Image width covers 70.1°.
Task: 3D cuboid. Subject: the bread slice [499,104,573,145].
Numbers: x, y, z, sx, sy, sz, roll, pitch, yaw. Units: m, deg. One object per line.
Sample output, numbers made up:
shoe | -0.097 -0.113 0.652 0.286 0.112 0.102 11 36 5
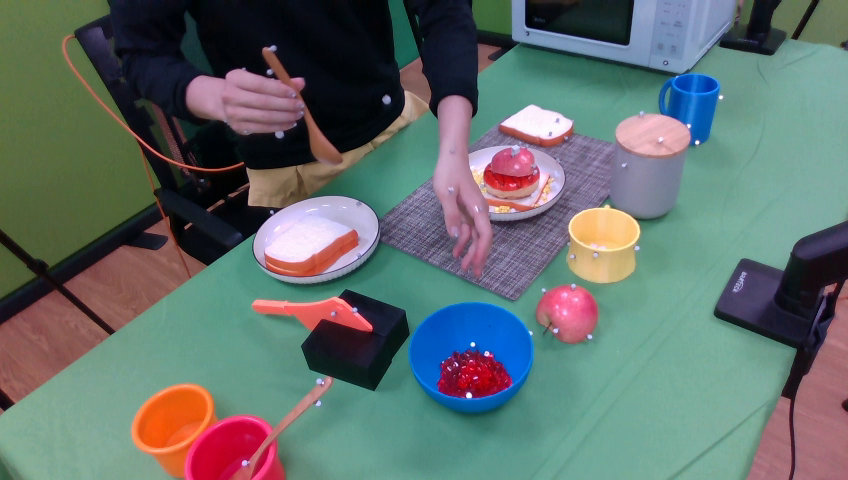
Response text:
bread slice | 0.231 -0.231 1.205 0.105 0.019 0.130 -36 47 -28

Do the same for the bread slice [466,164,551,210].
bread slice | 0.141 -0.093 1.042 0.133 0.018 0.107 10 42 19

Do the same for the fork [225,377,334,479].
fork | -0.163 0.216 0.646 0.207 0.019 0.028 -49 42 16

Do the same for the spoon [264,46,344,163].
spoon | -0.153 -0.165 0.769 0.041 0.195 0.021 1 50 25

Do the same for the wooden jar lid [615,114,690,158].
wooden jar lid | 0.347 -0.155 0.923 0.108 0.021 0.108 -3 44 4

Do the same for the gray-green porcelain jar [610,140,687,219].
gray-green porcelain jar | 0.354 -0.106 0.964 0.106 0.127 0.105 -4 41 4

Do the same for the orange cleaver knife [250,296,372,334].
orange cleaver knife | -0.159 0.103 0.828 0.210 0.078 0.012 -4 43 39

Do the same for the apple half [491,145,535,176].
apple half | 0.147 -0.138 0.993 0.081 0.033 0.081 0 36 0

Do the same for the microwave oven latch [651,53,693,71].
microwave oven latch | 0.532 -0.386 1.301 0.078 0.029 0.030 27 52 34

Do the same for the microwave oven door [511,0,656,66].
microwave oven door | 0.350 -0.539 1.348 0.353 0.245 0.039 24 50 31

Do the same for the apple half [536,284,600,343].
apple half | 0.196 0.091 0.815 0.075 0.053 0.080 -22 42 -20

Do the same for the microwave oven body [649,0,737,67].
microwave oven body | 0.475 -0.602 1.411 0.438 0.261 0.327 23 50 32

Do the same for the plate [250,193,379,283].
plate | -0.174 0.000 0.984 0.209 0.038 0.208 -4 40 4

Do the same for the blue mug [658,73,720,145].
blue mug | 0.483 -0.250 1.127 0.082 0.106 0.115 -26 44 -19

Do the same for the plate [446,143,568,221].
plate | 0.142 -0.097 1.045 0.207 0.039 0.206 -4 40 4

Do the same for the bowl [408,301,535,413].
bowl | 0.060 0.156 0.739 0.151 0.077 0.150 -4 40 4

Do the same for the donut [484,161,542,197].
donut | 0.149 -0.109 1.016 0.099 0.048 0.098 -4 39 4

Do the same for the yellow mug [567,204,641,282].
yellow mug | 0.268 -0.005 0.905 0.099 0.064 0.130 6 41 16
